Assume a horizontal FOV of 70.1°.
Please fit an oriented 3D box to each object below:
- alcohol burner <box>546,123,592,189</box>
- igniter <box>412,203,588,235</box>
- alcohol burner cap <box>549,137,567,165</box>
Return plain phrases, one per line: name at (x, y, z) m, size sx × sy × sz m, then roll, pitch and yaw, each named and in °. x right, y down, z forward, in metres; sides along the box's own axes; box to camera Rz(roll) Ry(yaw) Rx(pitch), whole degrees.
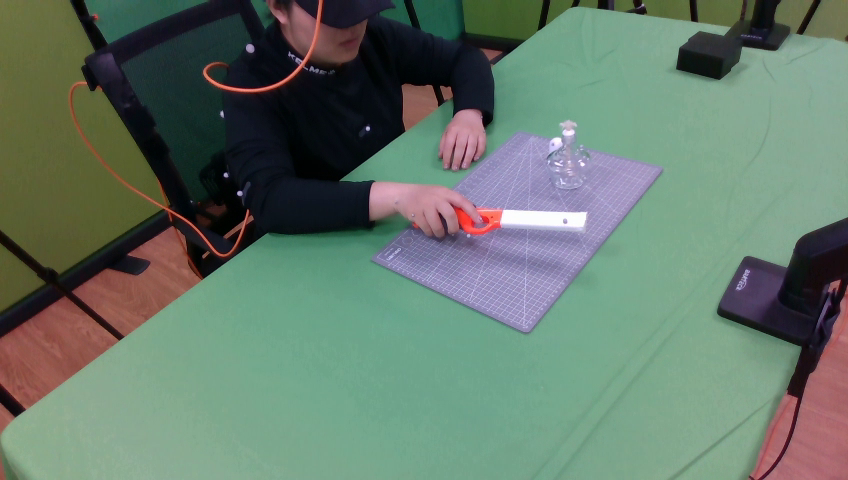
alcohol burner at (0.248, -0.147, 1.035) m, size 0.078 × 0.120 × 0.077 m, roll -7°, pitch 41°, yaw 6°
igniter at (0.112, -0.032, 0.938) m, size 0.275 × 0.025 × 0.057 m, roll 3°, pitch 55°, yaw 21°
alcohol burner cap at (0.247, -0.166, 1.114) m, size 0.034 × 0.048 × 0.033 m, roll -6°, pitch 40°, yaw 5°
